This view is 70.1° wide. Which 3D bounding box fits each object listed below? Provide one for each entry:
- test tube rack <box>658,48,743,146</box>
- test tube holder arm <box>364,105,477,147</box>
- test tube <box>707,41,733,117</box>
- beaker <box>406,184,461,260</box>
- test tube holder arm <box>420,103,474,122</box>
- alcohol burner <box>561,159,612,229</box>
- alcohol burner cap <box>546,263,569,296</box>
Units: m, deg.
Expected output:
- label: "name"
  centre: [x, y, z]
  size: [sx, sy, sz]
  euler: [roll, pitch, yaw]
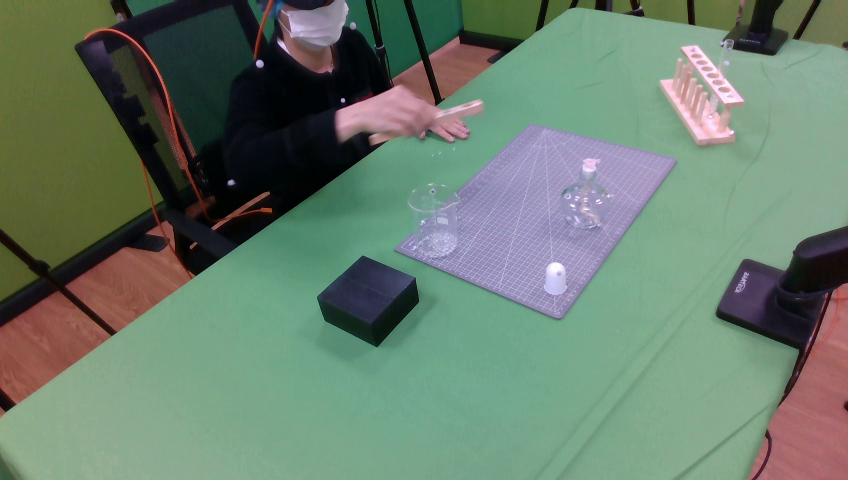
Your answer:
- label: "test tube rack"
  centre: [0.532, -0.284, 1.181]
  size: [0.067, 0.085, 0.241]
  euler: [-5, 40, 4]
- label: "test tube holder arm"
  centre: [-0.005, -0.175, 0.928]
  size: [0.178, 0.015, 0.013]
  euler: [-17, 39, -2]
- label: "test tube"
  centre: [0.542, -0.293, 1.111]
  size: [0.017, 0.151, 0.017]
  euler: [-4, 43, 5]
- label: "beaker"
  centre: [0.019, -0.026, 0.939]
  size: [0.084, 0.101, 0.074]
  euler: [1, 41, 10]
- label: "test tube holder arm"
  centre: [0.037, -0.192, 0.934]
  size: [0.088, 0.015, 0.010]
  euler: [-18, 39, -3]
- label: "alcohol burner"
  centre: [0.257, -0.077, 0.951]
  size: [0.078, 0.119, 0.077]
  euler: [-3, 40, 3]
- label: "alcohol burner cap"
  centre: [0.191, 0.053, 0.862]
  size: [0.034, 0.048, 0.033]
  euler: [-5, 40, 4]
